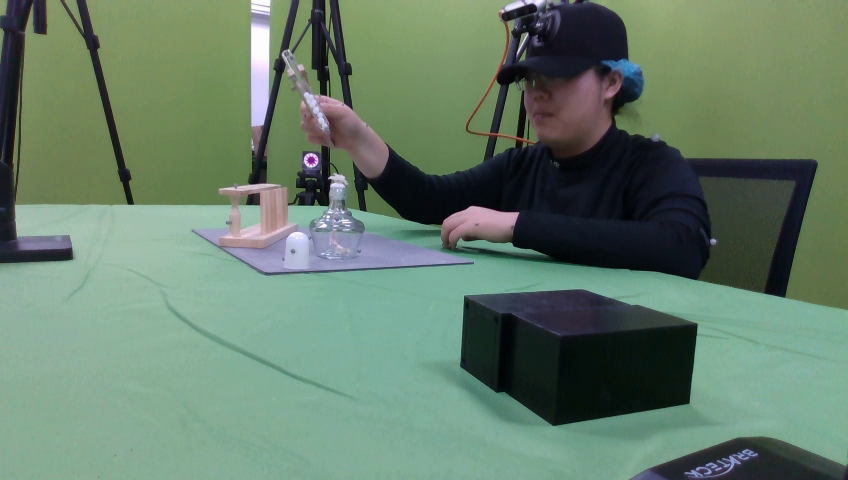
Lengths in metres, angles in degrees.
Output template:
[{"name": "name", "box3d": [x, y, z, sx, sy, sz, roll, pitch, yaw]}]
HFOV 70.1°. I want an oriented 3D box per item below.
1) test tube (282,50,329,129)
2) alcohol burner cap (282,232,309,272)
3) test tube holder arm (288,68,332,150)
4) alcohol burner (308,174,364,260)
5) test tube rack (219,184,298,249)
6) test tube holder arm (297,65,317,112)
[{"name": "test tube", "box3d": [-0.173, -0.220, 0.881, 0.017, 0.149, 0.017, -25, -21, -10]}, {"name": "alcohol burner cap", "box3d": [-0.157, 0.014, 0.740, 0.034, 0.048, 0.034, 2, 6, 0]}, {"name": "test tube holder arm", "box3d": [-0.175, -0.200, 0.946, 0.013, 0.015, 0.179, -22, -30, -3]}, {"name": "alcohol burner", "box3d": [-0.121, -0.033, 0.841, 0.078, 0.119, 0.078, 3, 5, 0]}, {"name": "test tube rack", "box3d": [-0.266, -0.046, 1.001, 0.067, 0.085, 0.242, 3, 7, 0]}, {"name": "test tube holder arm", "box3d": [-0.175, -0.225, 0.908, 0.010, 0.015, 0.088, -19, -31, -9]}]
